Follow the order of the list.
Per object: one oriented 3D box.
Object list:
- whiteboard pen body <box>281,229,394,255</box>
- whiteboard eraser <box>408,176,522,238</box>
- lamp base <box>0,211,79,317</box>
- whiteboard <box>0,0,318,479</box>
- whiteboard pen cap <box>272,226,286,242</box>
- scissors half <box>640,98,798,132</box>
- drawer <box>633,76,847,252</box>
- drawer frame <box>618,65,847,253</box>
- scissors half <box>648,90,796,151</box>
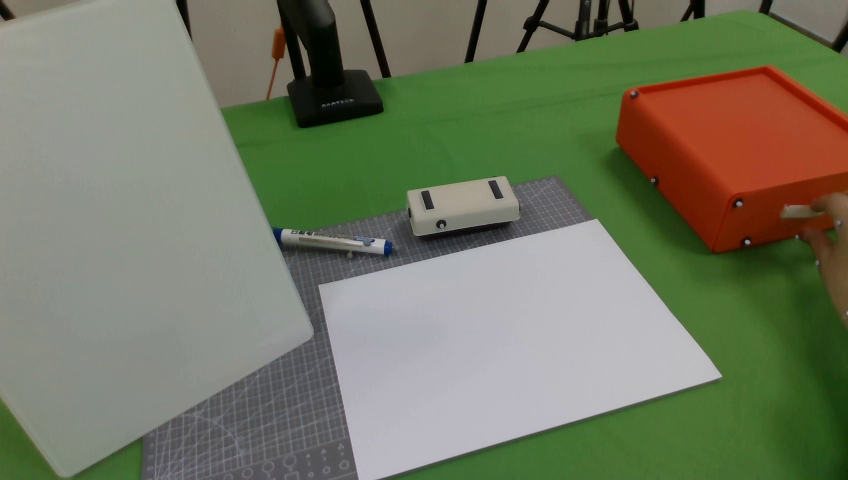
[{"bbox_3d":[-0.100,0.001,0.621,0.140,0.017,0.017,6,42,7],"label":"whiteboard pen body"},{"bbox_3d":[0.041,-0.033,0.634,0.113,0.042,0.055,-10,40,-6],"label":"whiteboard eraser"},{"bbox_3d":[-0.455,-0.034,0.571,0.178,0.182,0.160,14,44,23],"label":"lamp base"},{"bbox_3d":[-0.254,-0.014,0.484,0.217,0.308,0.142,-28,28,-24],"label":"whiteboard"},{"bbox_3d":[-0.159,-0.007,0.628,0.033,0.018,0.018,6,42,5],"label":"whiteboard pen cap"},{"bbox_3d":[0.358,-0.149,0.742,0.174,0.040,0.013,-1,39,26],"label":"scissors half"},{"bbox_3d":[0.352,-0.093,0.652,0.195,0.074,0.209,-12,41,-7],"label":"drawer"},{"bbox_3d":[0.351,-0.095,0.653,0.202,0.083,0.211,-12,42,-8],"label":"drawer frame"},{"bbox_3d":[0.362,-0.140,0.749,0.174,0.040,0.012,-15,38,38],"label":"scissors half"}]
